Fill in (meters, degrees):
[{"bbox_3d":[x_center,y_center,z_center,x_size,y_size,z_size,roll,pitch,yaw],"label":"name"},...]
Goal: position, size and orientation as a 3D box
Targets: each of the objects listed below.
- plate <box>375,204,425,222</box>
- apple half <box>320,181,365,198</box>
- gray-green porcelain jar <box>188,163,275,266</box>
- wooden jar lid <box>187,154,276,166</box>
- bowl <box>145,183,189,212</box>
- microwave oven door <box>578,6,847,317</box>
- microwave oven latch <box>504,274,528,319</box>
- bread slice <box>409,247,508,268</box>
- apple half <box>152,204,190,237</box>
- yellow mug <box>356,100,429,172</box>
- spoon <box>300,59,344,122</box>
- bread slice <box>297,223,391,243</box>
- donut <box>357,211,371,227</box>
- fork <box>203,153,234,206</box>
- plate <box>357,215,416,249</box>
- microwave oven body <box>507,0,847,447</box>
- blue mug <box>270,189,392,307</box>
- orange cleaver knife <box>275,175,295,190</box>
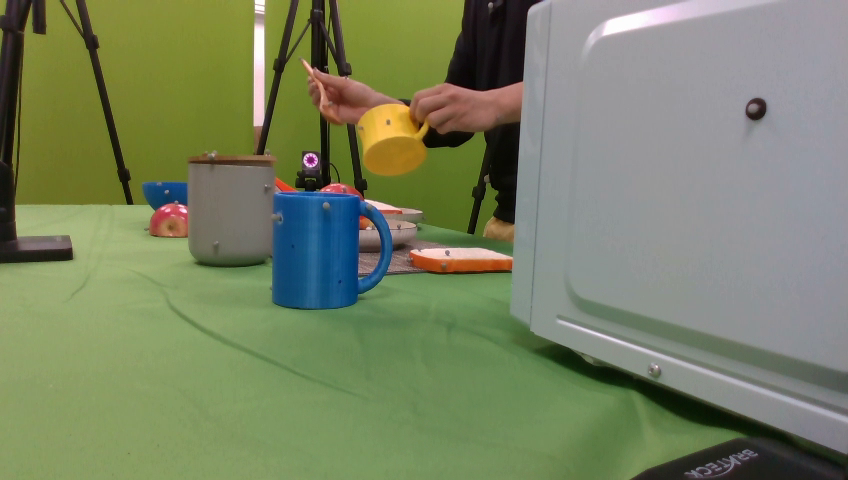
[{"bbox_3d":[-0.102,-0.053,1.299,0.209,0.038,0.209,2,8,0],"label":"plate"},{"bbox_3d":[-0.130,-0.077,0.951,0.081,0.033,0.081,4,13,-1],"label":"apple half"},{"bbox_3d":[-0.246,-0.034,0.779,0.106,0.126,0.106,1,7,0],"label":"gray-green porcelain jar"},{"bbox_3d":[-0.244,-0.097,0.771,0.108,0.020,0.108,-1,7,0],"label":"wooden jar lid"},{"bbox_3d":[-0.459,-0.069,1.175,0.151,0.077,0.151,2,7,0],"label":"bowl"},{"bbox_3d":[0.294,-0.067,0.570,0.358,0.243,0.039,-3,9,-31],"label":"microwave oven door"},{"bbox_3d":[0.100,0.041,0.470,0.079,0.029,0.030,-1,7,-27],"label":"microwave oven latch"},{"bbox_3d":[0.048,0.022,0.816,0.132,0.019,0.104,1,6,-24],"label":"bread slice"},{"bbox_3d":[-0.415,-0.034,1.017,0.081,0.053,0.074,1,10,-9],"label":"apple half"},{"bbox_3d":[-0.041,-0.168,0.937,0.130,0.064,0.100,-30,-32,32],"label":"yellow mug"},{"bbox_3d":[-0.176,-0.255,1.024,0.042,0.021,0.193,20,33,-45],"label":"spoon"},{"bbox_3d":[-0.121,-0.013,0.970,0.106,0.018,0.135,10,11,41],"label":"bread slice"},{"bbox_3d":[-0.132,-0.041,0.959,0.099,0.048,0.099,3,7,0],"label":"donut"},{"bbox_3d":[-0.480,-0.136,1.411,0.028,0.018,0.207,0,-34,-1],"label":"fork"},{"bbox_3d":[-0.116,-0.014,0.967,0.208,0.039,0.207,2,7,0],"label":"plate"},{"bbox_3d":[0.331,-0.042,0.425,0.444,0.260,0.324,-2,8,-31],"label":"microwave oven body"},{"bbox_3d":[-0.090,0.005,0.588,0.117,0.106,0.082,1,7,-11],"label":"blue mug"},{"bbox_3d":[-0.283,-0.086,1.343,0.212,0.077,0.012,24,-16,-41],"label":"orange cleaver knife"}]
